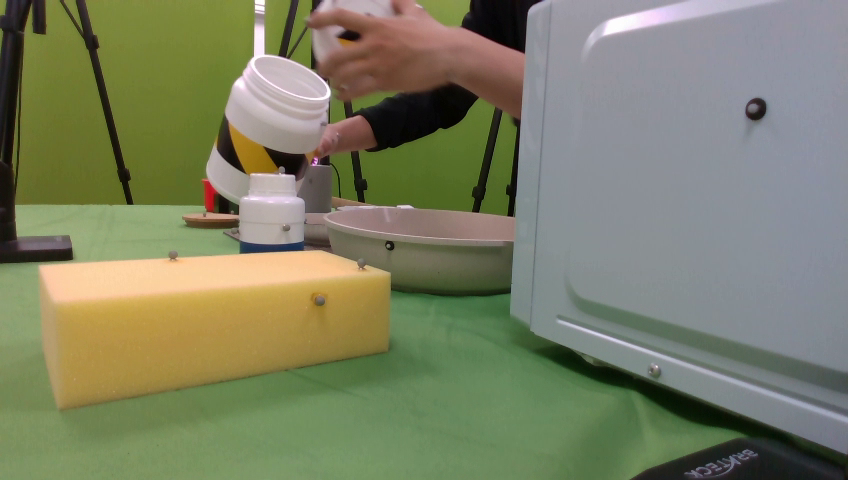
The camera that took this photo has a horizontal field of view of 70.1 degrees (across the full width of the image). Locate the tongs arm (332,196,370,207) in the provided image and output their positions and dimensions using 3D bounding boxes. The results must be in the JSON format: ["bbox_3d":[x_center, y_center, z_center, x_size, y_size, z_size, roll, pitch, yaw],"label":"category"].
[{"bbox_3d":[-0.241,-0.095,1.374,0.387,0.026,0.050,9,1,-37],"label":"tongs arm"}]

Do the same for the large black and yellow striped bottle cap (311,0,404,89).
[{"bbox_3d":[-0.075,-0.236,0.709,0.115,0.115,0.018,-3,16,-32],"label":"large black and yellow striped bottle cap"}]

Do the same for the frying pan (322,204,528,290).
[{"bbox_3d":[0.110,-0.018,0.800,0.490,0.102,0.305,-12,16,-30],"label":"frying pan"}]

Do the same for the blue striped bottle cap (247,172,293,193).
[{"bbox_3d":[-0.152,-0.057,0.598,0.044,0.020,0.044,3,6,0],"label":"blue striped bottle cap"}]

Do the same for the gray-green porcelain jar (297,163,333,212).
[{"bbox_3d":[-0.238,-0.092,1.221,0.106,0.126,0.106,2,7,0],"label":"gray-green porcelain jar"}]

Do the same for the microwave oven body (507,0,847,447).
[{"bbox_3d":[0.331,-0.042,0.425,0.444,0.260,0.324,-2,8,-31],"label":"microwave oven body"}]

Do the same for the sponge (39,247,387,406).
[{"bbox_3d":[-0.142,0.047,0.420,0.208,0.061,0.117,-3,9,-36],"label":"sponge"}]

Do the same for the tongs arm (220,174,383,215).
[{"bbox_3d":[-0.284,-0.106,1.445,0.389,0.027,0.028,10,-3,-23],"label":"tongs arm"}]

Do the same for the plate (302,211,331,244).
[{"bbox_3d":[-0.139,-0.022,1.021,0.209,0.038,0.209,2,8,0],"label":"plate"}]

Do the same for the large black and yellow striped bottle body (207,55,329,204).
[{"bbox_3d":[-0.214,-0.148,0.841,0.131,0.183,0.130,22,31,-14],"label":"large black and yellow striped bottle body"}]

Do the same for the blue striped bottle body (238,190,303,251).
[{"bbox_3d":[-0.153,-0.007,0.605,0.063,0.120,0.063,2,8,0],"label":"blue striped bottle body"}]

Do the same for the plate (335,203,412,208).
[{"bbox_3d":[-0.089,-0.053,1.309,0.208,0.039,0.207,2,8,0],"label":"plate"}]

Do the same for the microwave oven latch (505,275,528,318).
[{"bbox_3d":[0.100,0.041,0.472,0.079,0.029,0.030,-2,8,-31],"label":"microwave oven latch"}]

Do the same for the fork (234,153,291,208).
[{"bbox_3d":[-0.396,-0.143,1.486,0.028,0.018,0.208,20,-26,45],"label":"fork"}]

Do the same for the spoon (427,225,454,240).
[{"bbox_3d":[0.024,-0.019,1.124,0.042,0.021,0.193,-17,9,-4],"label":"spoon"}]

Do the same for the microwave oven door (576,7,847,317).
[{"bbox_3d":[0.294,-0.067,0.572,0.358,0.243,0.039,-3,10,-31],"label":"microwave oven door"}]

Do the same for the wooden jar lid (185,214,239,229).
[{"bbox_3d":[-0.404,-0.037,1.169,0.108,0.020,0.108,3,7,0],"label":"wooden jar lid"}]
